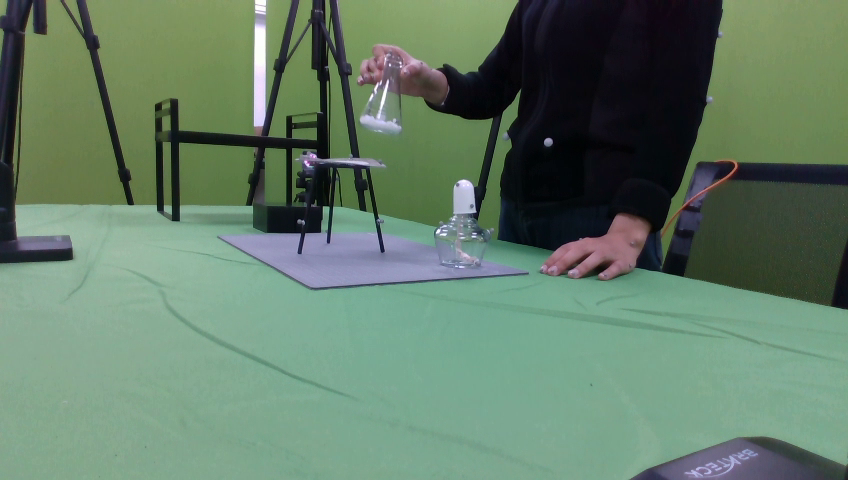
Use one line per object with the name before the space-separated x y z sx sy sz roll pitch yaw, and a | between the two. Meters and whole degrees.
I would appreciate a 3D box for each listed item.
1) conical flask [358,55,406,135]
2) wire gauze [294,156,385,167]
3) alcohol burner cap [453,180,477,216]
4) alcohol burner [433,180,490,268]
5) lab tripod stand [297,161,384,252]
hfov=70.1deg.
conical flask | -0.061 -0.239 0.997 0.075 0.122 0.075 12 4 -1
wire gauze | -0.128 -0.118 0.901 0.125 0.011 0.121 0 8 -14
alcohol burner cap | 0.054 -0.057 0.811 0.034 0.048 0.034 -3 6 1
alcohol burner | 0.052 -0.021 0.815 0.078 0.119 0.078 4 7 0
lab tripod stand | -0.130 -0.051 0.903 0.148 0.131 0.148 4 9 0
